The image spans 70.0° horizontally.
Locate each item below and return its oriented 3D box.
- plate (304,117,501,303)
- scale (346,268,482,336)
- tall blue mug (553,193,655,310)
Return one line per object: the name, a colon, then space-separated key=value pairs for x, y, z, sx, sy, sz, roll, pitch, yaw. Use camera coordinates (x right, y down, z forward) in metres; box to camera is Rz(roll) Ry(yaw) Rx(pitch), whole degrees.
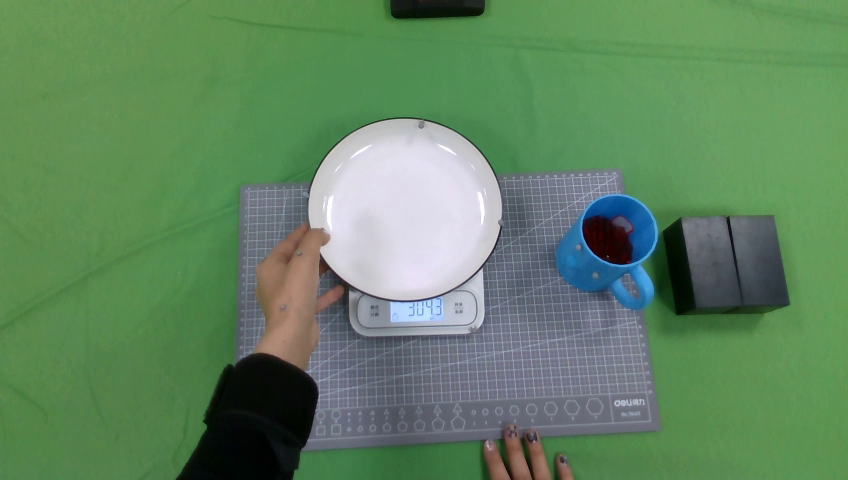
plate: x=-0.022 y=-0.031 z=0.652 sx=0.209 sy=0.038 sz=0.208 roll=1 pitch=74 yaw=-2
scale: x=-0.012 y=0.005 z=0.677 sx=0.149 sy=0.032 sz=0.200 roll=-1 pitch=75 yaw=-1
tall blue mug: x=0.199 y=0.014 z=0.639 sx=0.107 sy=0.108 sz=0.077 roll=33 pitch=75 yaw=8
